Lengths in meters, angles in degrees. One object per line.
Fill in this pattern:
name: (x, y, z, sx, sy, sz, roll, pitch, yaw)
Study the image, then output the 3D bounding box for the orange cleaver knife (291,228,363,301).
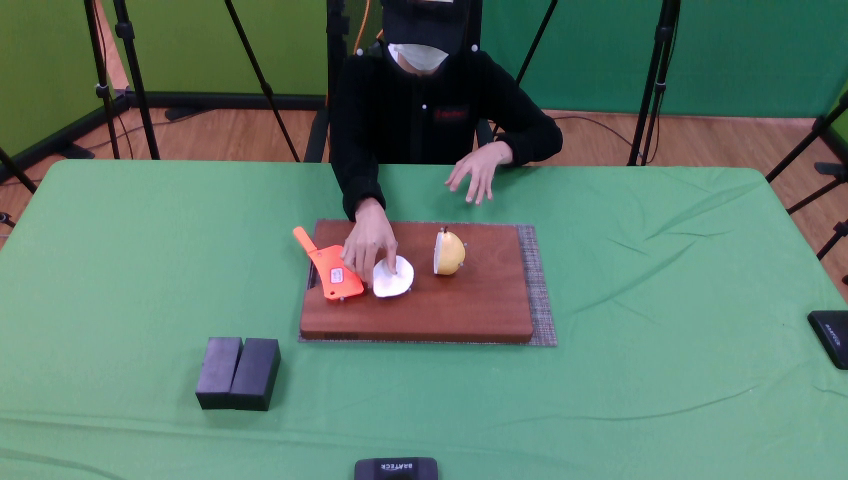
orange cleaver knife: (-0.181, 0.037, 1.113, 0.077, 0.012, 0.210, -23, 49, -20)

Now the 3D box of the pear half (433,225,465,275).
pear half: (0.046, 0.014, 1.089, 0.056, 0.110, 0.076, -3, 50, -7)

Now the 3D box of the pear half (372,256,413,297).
pear half: (-0.060, 0.071, 1.078, 0.070, 0.031, 0.088, 36, 66, 10)
